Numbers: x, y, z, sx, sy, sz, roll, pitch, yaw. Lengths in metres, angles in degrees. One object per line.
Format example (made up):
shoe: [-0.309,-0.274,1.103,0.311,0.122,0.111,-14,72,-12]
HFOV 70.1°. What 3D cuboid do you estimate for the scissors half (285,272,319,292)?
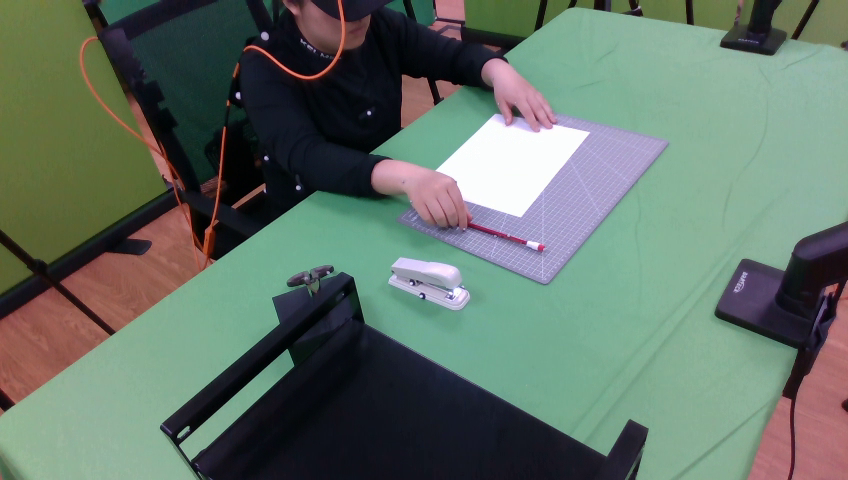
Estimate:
scissors half: [-0.171,0.063,0.868,0.040,0.013,0.174,-10,7,-21]

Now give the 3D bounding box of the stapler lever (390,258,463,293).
stapler lever: [0.003,0.046,0.881,0.117,0.040,0.027,17,44,29]

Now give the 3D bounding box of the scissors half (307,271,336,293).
scissors half: [-0.152,0.061,0.872,0.040,0.013,0.175,-3,5,-4]

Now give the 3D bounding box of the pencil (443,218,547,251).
pencil: [0.110,-0.012,0.980,0.192,0.012,0.012,18,46,30]

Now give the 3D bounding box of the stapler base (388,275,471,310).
stapler base: [0.007,0.066,0.897,0.129,0.024,0.041,17,43,29]
